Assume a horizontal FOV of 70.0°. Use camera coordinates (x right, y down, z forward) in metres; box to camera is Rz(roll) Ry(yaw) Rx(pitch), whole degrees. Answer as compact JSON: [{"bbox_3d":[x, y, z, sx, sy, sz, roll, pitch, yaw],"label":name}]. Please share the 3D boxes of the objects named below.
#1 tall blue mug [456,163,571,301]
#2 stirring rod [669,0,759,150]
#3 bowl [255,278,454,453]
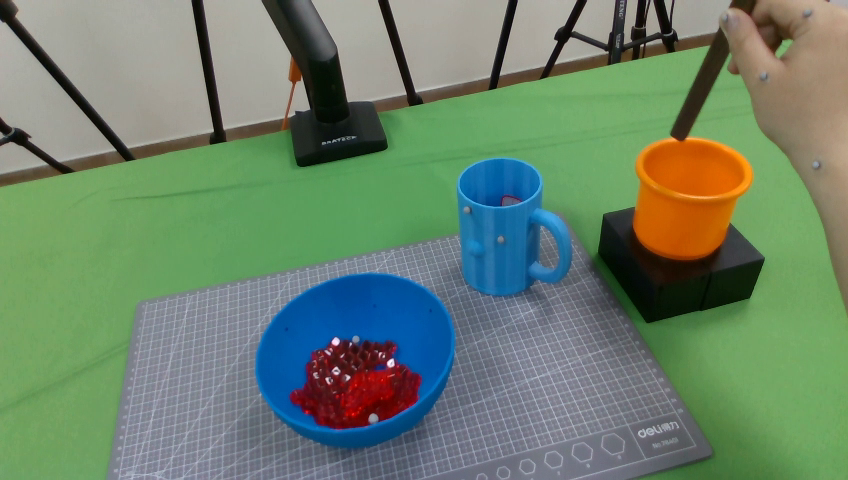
[{"bbox_3d":[0.085,-0.004,0.564,0.107,0.109,0.077,6,42,14],"label":"tall blue mug"},{"bbox_3d":[0.202,-0.129,0.409,0.014,0.177,0.006,38,59,25],"label":"stirring rod"},{"bbox_3d":[-0.048,0.109,0.477,0.151,0.077,0.150,-3,41,3],"label":"bowl"}]
